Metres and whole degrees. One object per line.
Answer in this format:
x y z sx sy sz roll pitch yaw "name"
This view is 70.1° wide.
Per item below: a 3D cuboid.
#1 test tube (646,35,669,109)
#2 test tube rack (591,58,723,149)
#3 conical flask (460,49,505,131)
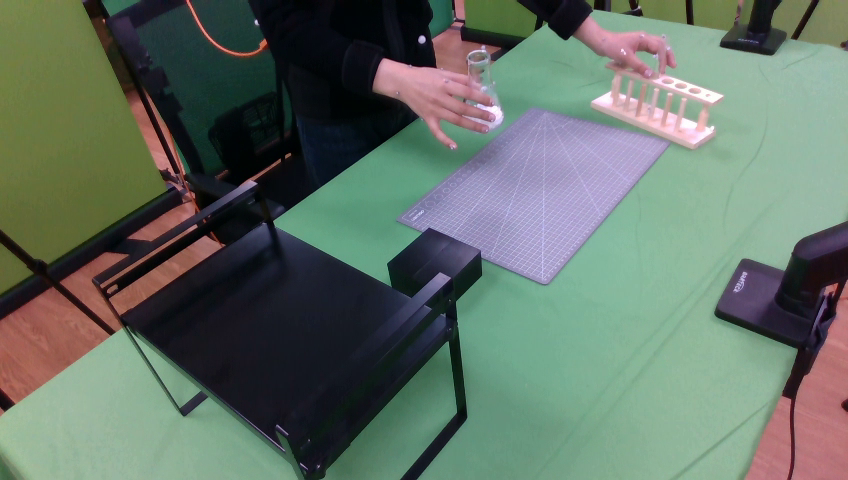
0.443 -0.317 1.151 0.017 0.151 0.017 -2 44 3 "test tube"
0.442 -0.269 1.171 0.067 0.085 0.240 -30 45 -24 "test tube rack"
0.090 -0.239 0.957 0.075 0.122 0.075 -5 49 6 "conical flask"
